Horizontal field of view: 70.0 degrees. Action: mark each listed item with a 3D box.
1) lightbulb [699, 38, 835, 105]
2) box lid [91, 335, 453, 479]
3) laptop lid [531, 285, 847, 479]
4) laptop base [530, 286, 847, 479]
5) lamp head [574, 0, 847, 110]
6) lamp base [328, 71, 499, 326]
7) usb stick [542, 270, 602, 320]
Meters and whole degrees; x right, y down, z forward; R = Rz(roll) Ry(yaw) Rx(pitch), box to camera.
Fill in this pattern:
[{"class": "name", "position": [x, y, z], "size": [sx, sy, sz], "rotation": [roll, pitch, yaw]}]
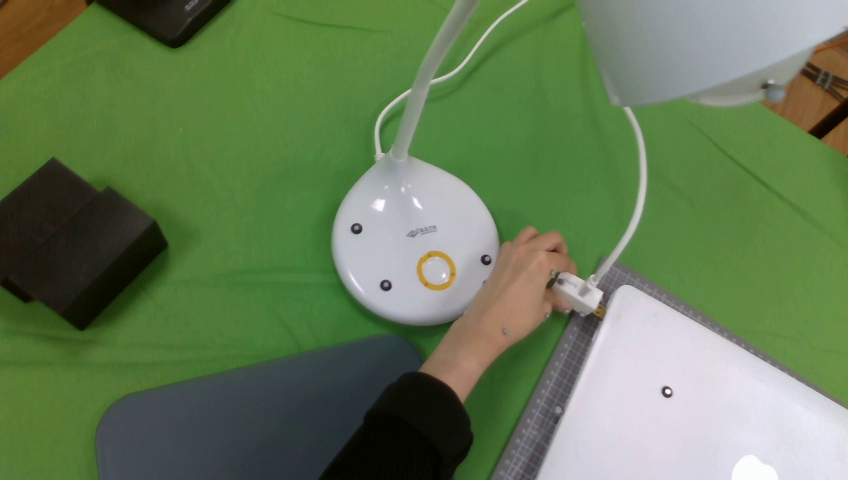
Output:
[{"class": "lightbulb", "position": [0.120, -0.104, 0.220], "size": [0.060, 0.059, 0.108], "rotation": [-7, 108, -14]}, {"class": "box lid", "position": [-0.087, 0.266, 0.449], "size": [0.264, 0.015, 0.369], "rotation": [-12, 72, -16]}, {"class": "laptop lid", "position": [0.282, 0.218, 0.528], "size": [0.356, 0.013, 0.241], "rotation": [31, 68, 2]}, {"class": "laptop base", "position": [0.281, 0.220, 0.540], "size": [0.354, 0.023, 0.234], "rotation": [30, 69, 1]}, {"class": "lamp head", "position": [0.096, -0.124, 0.222], "size": [0.112, 0.112, 0.123], "rotation": [-36, 102, -23]}, {"class": "lamp base", "position": [-0.001, -0.037, 0.499], "size": [0.161, 0.181, 0.178], "rotation": [-26, 72, -20]}, {"class": "usb stick", "position": [0.143, 0.054, 0.567], "size": [0.059, 0.027, 0.021], "rotation": [31, 61, -1]}]
